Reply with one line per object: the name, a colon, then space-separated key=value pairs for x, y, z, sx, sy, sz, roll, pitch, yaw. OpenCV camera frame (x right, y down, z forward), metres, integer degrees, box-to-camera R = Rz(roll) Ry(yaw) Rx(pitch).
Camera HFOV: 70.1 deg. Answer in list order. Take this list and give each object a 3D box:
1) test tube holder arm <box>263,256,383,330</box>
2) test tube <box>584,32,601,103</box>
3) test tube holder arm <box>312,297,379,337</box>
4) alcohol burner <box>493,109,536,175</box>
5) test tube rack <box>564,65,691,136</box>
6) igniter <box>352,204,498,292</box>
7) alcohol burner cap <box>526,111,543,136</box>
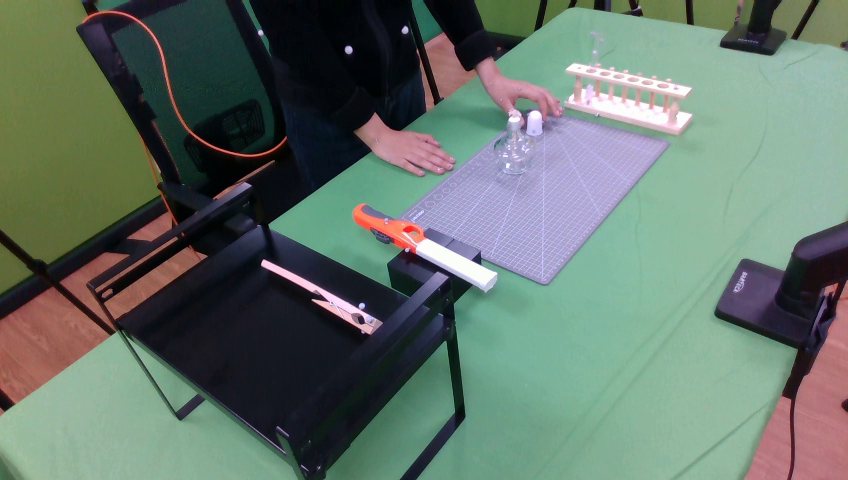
test tube holder arm: x=-0.113 y=0.054 z=0.647 sx=0.177 sy=0.015 sz=0.013 roll=26 pitch=80 yaw=33
test tube: x=0.333 y=-0.338 z=1.199 sx=0.017 sy=0.151 sz=0.017 roll=-3 pitch=45 yaw=3
test tube holder arm: x=-0.082 y=0.075 z=0.622 sx=0.087 sy=0.015 sz=0.010 roll=27 pitch=80 yaw=33
alcohol burner: x=0.163 y=-0.179 z=1.087 sx=0.078 sy=0.119 sz=0.077 roll=-5 pitch=38 yaw=5
test tube rack: x=0.404 y=-0.288 z=1.204 sx=0.240 sy=0.085 sz=0.067 roll=24 pitch=49 yaw=32
igniter: x=-0.009 y=0.005 z=0.895 sx=0.274 sy=0.025 sz=0.057 roll=27 pitch=48 yaw=32
alcohol burner cap: x=0.219 y=-0.232 z=1.196 sx=0.034 sy=0.048 sz=0.033 roll=-4 pitch=41 yaw=4
